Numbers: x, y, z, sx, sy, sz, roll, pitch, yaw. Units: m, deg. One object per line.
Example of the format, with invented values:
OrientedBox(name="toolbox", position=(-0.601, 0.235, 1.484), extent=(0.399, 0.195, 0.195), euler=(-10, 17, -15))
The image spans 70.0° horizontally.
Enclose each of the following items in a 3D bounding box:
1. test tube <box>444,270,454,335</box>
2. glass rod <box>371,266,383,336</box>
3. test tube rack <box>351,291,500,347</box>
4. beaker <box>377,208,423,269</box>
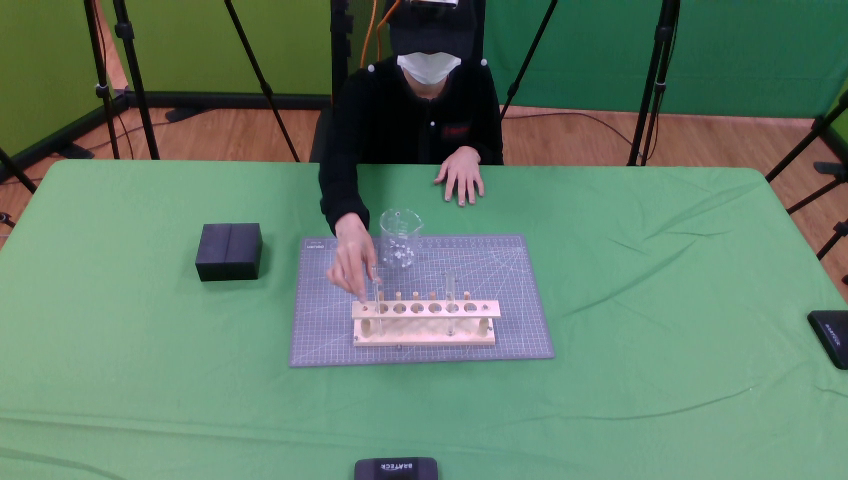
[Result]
OrientedBox(name="test tube", position=(0.042, 0.105, 0.983), extent=(0.017, 0.151, 0.017), euler=(-1, 44, 1))
OrientedBox(name="glass rod", position=(-0.073, 0.101, 0.954), extent=(0.008, 0.201, 0.008), euler=(0, 52, 0))
OrientedBox(name="test tube rack", position=(0.000, 0.129, 1.026), extent=(0.242, 0.085, 0.066), euler=(0, 46, -4))
OrientedBox(name="beaker", position=(-0.046, 0.000, 1.138), extent=(0.084, 0.101, 0.073), euler=(3, 46, -3))
